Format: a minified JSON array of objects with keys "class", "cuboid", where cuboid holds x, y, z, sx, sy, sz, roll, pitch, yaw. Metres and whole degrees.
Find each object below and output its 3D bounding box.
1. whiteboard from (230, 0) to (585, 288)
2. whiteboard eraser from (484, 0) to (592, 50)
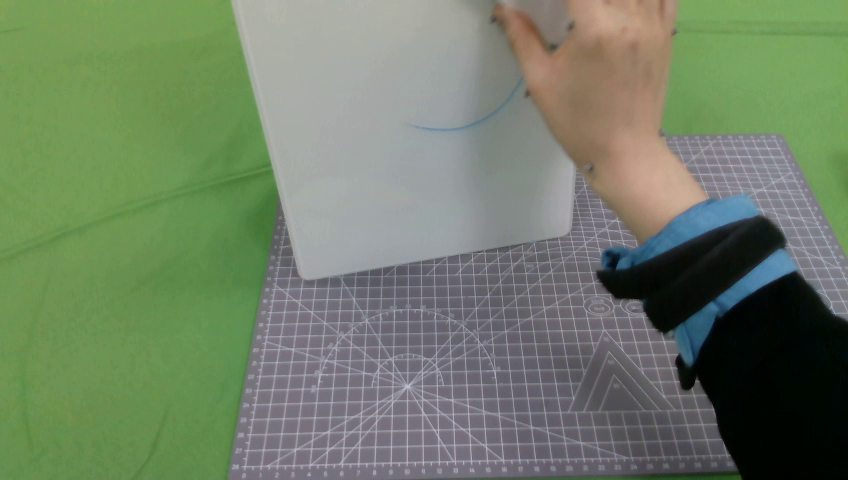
[{"class":"whiteboard","cuboid":[-0.011,-0.146,0.438,0.217,0.308,0.142,-9,34,-6]},{"class":"whiteboard eraser","cuboid":[0.058,-0.152,0.359,0.102,0.041,0.018,29,23,-26]}]
